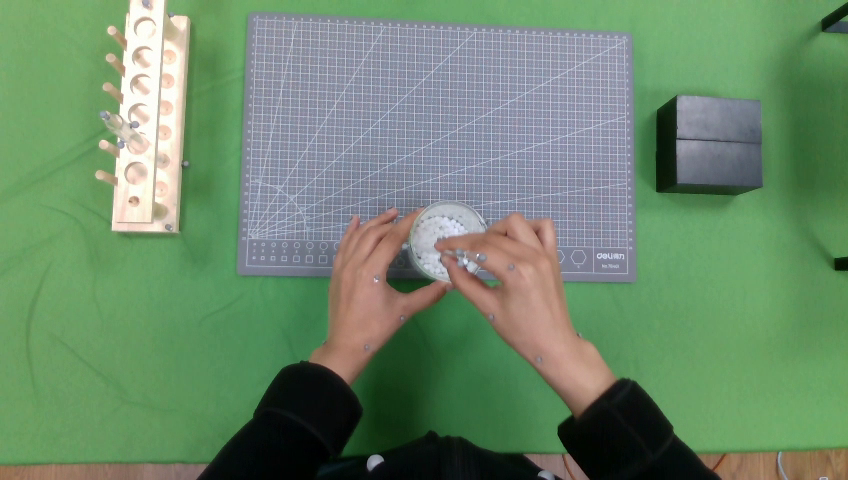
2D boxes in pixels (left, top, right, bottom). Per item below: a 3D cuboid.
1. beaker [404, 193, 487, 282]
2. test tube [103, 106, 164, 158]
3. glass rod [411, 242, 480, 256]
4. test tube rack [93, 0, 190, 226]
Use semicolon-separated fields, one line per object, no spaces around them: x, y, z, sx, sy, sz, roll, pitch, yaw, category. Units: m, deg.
0.018;0.003;0.594;0.074;0.100;0.084;-23;88;-6;beaker
-0.273;-0.099;0.576;0.017;0.150;0.017;1;86;-10;test tube
0.013;0.006;0.530;0.008;0.199;0.008;0;91;-15;glass rod
-0.296;-0.140;0.628;0.067;0.085;0.241;2;85;-5;test tube rack
